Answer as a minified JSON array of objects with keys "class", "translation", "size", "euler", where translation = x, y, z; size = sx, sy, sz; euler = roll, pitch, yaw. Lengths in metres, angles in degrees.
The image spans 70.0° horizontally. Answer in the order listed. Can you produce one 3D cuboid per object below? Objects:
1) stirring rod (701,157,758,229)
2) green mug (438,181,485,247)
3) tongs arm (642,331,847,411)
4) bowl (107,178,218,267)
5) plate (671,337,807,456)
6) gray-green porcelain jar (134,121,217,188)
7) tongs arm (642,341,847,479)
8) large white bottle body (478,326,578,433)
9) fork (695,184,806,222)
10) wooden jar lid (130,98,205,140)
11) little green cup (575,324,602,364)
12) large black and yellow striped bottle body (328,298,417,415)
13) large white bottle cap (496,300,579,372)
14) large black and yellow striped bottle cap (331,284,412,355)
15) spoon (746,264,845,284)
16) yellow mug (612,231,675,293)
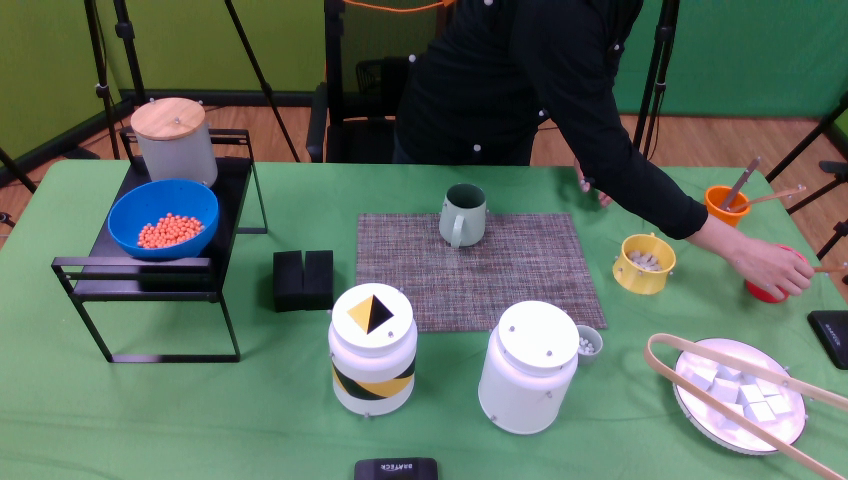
[{"class":"stirring rod","translation":[0.634,-0.097,1.257],"size":[0.014,0.006,0.176],"euler":[38,97,29]},{"class":"green mug","translation":[0.071,-0.039,1.177],"size":[0.092,0.105,0.124],"euler":[12,47,7]},{"class":"tongs arm","translation":[0.546,0.227,0.968],"size":[0.384,0.026,0.050],"euler":[22,52,13]},{"class":"bowl","translation":[-0.374,-0.014,0.893],"size":[0.151,0.077,0.150],"euler":[2,46,-2]},{"class":"plate","translation":[0.503,0.254,0.984],"size":[0.208,0.039,0.206],"euler":[2,46,-2]},{"class":"gray-green porcelain jar","translation":[-0.397,-0.141,0.980],"size":[0.106,0.127,0.105],"euler":[2,47,-2]},{"class":"tongs arm","translation":[0.504,0.278,0.918],"size":[0.386,0.028,0.028],"euler":[34,59,22]},{"class":"large white bottle body","translation":[0.156,0.192,0.913],"size":[0.131,0.185,0.130],"euler":[2,46,-2]},{"class":"fork","translation":[0.657,-0.074,1.229],"size":[0.207,0.019,0.028],"euler":[-23,36,37]},{"class":"wooden jar lid","translation":[-0.393,-0.183,0.934],"size":[0.108,0.021,0.107],"euler":[2,44,-2]},{"class":"little green cup","translation":[0.269,0.179,1.036],"size":[0.061,0.039,0.061],"euler":[3,46,-2]},{"class":"large black and yellow striped bottle body","translation":[-0.078,0.167,0.920],"size":[0.131,0.185,0.130],"euler":[2,46,-2]},{"class":"large white bottle cap","translation":[0.159,0.133,0.852],"size":[0.115,0.018,0.114],"euler":[3,46,-3]},{"class":"large black and yellow striped bottle cap","translation":[-0.073,0.110,0.858],"size":[0.115,0.019,0.114],"euler":[2,46,-2]},{"class":"spoon","translation":[0.663,0.058,1.090],"size":[0.041,0.194,0.021],"euler":[-29,88,-19]},{"class":"yellow mug","translation":[0.424,0.033,1.168],"size":[0.100,0.064,0.130],"euler":[18,47,13]}]
